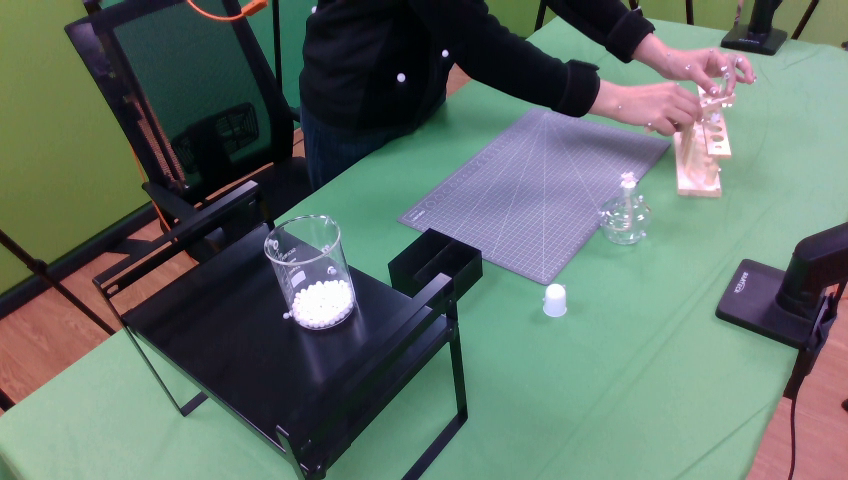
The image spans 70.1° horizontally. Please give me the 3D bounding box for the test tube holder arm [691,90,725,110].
[{"bbox_3d":[0.467,-0.225,0.996,0.088,0.015,0.010,-31,41,-27],"label":"test tube holder arm"}]

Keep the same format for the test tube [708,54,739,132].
[{"bbox_3d":[0.489,-0.234,0.998,0.017,0.151,0.017,-2,42,2],"label":"test tube"}]

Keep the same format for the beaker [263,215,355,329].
[{"bbox_3d":[-0.111,0.034,0.616,0.073,0.101,0.084,13,44,23],"label":"beaker"}]

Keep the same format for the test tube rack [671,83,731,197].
[{"bbox_3d":[0.483,-0.184,1.067,0.066,0.085,0.242,6,42,15],"label":"test tube rack"}]

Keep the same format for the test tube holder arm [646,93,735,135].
[{"bbox_3d":[0.432,-0.204,0.976,0.179,0.015,0.013,-23,36,-17],"label":"test tube holder arm"}]

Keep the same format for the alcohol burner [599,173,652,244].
[{"bbox_3d":[0.308,-0.052,0.919,0.078,0.119,0.077,-5,42,5],"label":"alcohol burner"}]

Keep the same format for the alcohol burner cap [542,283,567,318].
[{"bbox_3d":[0.182,0.081,0.839,0.034,0.048,0.033,-3,40,3],"label":"alcohol burner cap"}]
